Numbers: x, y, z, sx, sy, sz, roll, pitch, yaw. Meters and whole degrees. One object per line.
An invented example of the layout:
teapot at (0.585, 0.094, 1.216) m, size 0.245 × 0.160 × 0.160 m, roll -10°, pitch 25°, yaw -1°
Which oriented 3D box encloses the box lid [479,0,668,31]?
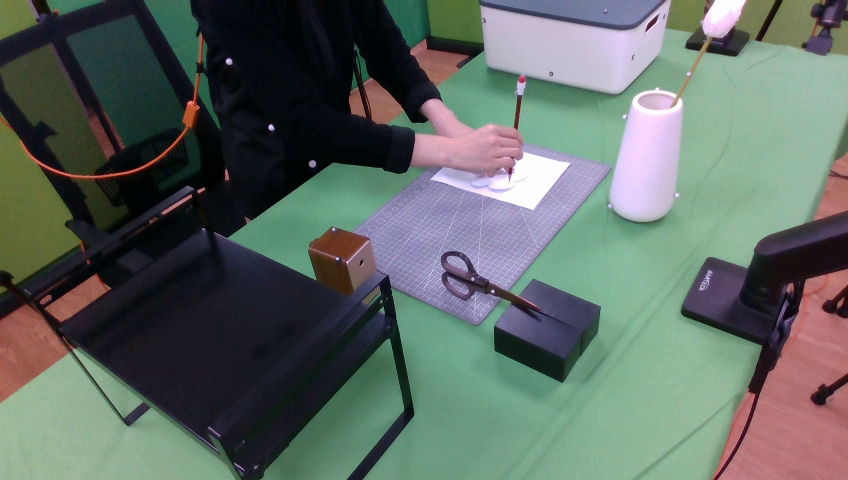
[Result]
box lid at (0.335, -0.536, 1.331) m, size 0.368 × 0.015 × 0.264 m, roll 23°, pitch 49°, yaw 30°

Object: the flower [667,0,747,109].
flower at (0.354, -0.187, 0.879) m, size 0.038 × 0.362 × 0.044 m, roll 30°, pitch 48°, yaw 14°

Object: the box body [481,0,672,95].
box body at (0.341, -0.480, 1.381) m, size 0.361 × 0.161 × 0.255 m, roll 22°, pitch 48°, yaw 30°

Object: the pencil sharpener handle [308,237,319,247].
pencil sharpener handle at (-0.159, 0.017, 0.892) m, size 0.030 × 0.068 × 0.036 m, roll 18°, pitch 61°, yaw 28°

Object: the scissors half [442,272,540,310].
scissors half at (0.089, 0.075, 0.832) m, size 0.013 × 0.040 × 0.173 m, roll -23°, pitch 23°, yaw -39°

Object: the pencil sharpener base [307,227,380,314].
pencil sharpener base at (-0.116, 0.043, 0.875) m, size 0.076 × 0.107 × 0.061 m, roll 18°, pitch 47°, yaw 27°

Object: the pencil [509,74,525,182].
pencil at (0.149, -0.177, 0.986) m, size 0.012 × 0.194 × 0.012 m, roll 0°, pitch 39°, yaw 0°

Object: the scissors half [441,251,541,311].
scissors half at (0.087, 0.056, 0.824) m, size 0.173 × 0.040 × 0.013 m, roll 29°, pitch 44°, yaw 35°

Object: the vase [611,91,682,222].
vase at (0.348, -0.125, 0.935) m, size 0.098 × 0.201 × 0.097 m, roll -3°, pitch 40°, yaw 3°
